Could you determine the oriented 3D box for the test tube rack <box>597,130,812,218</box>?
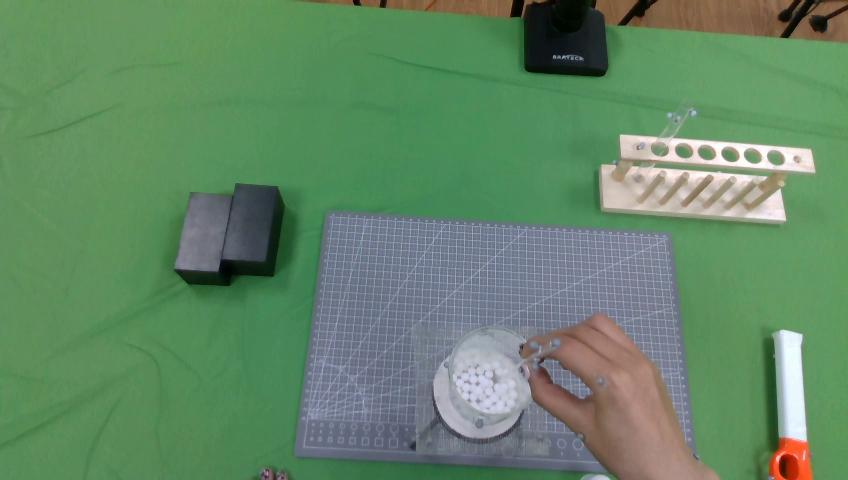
[{"bbox_3d":[0.356,-0.083,0.780,0.242,0.086,0.066,4,67,-1],"label":"test tube rack"}]

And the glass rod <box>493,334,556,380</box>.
[{"bbox_3d":[0.074,0.096,0.481,0.008,0.200,0.008,2,70,-4],"label":"glass rod"}]

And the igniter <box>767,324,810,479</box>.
[{"bbox_3d":[0.415,0.230,0.687,0.057,0.025,0.274,14,68,-8],"label":"igniter"}]

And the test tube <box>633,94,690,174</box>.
[{"bbox_3d":[0.286,-0.125,0.739,0.017,0.151,0.017,1,64,-1],"label":"test tube"}]

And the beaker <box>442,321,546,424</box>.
[{"bbox_3d":[0.056,0.120,0.528,0.084,0.101,0.073,-1,67,-3],"label":"beaker"}]

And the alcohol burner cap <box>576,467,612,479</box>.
[{"bbox_3d":[0.186,0.262,0.655,0.034,0.048,0.033,1,66,-1],"label":"alcohol burner cap"}]

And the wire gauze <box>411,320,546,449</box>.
[{"bbox_3d":[0.050,0.135,0.574,0.125,0.011,0.120,0,66,-1],"label":"wire gauze"}]

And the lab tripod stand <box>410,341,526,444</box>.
[{"bbox_3d":[0.047,0.163,0.633,0.148,0.132,0.147,1,67,-1],"label":"lab tripod stand"}]

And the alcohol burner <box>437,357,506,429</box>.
[{"bbox_3d":[0.052,0.160,0.646,0.078,0.120,0.077,2,66,-4],"label":"alcohol burner"}]
